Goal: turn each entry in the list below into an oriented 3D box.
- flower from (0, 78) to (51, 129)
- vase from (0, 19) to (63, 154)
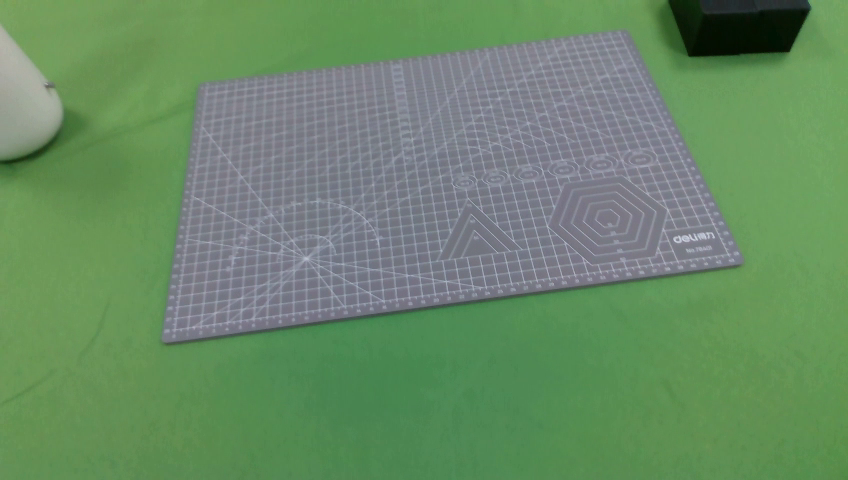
[{"bbox_3d":[-0.432,-0.217,0.458,0.038,0.366,0.044,13,61,34],"label":"flower"},{"bbox_3d":[-0.405,-0.169,0.522,0.098,0.202,0.097,-2,54,2],"label":"vase"}]
